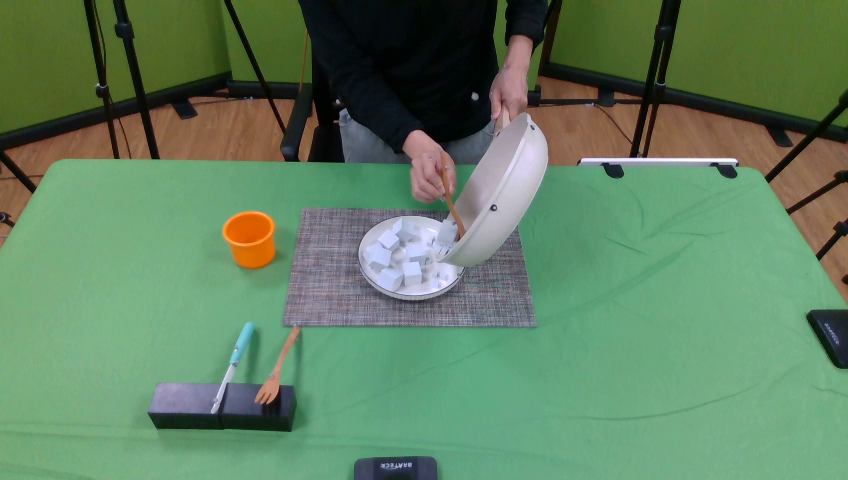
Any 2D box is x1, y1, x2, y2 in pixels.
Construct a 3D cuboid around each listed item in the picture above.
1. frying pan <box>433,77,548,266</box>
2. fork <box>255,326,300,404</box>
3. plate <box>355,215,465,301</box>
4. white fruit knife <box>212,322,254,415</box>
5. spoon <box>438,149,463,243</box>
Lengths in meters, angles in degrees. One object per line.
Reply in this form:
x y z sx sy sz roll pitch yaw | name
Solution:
0.132 -0.153 1.095 0.103 0.307 0.485 24 49 -14 | frying pan
-0.226 0.192 0.955 0.028 0.019 0.206 -3 27 5 | fork
-0.025 0.038 1.143 0.208 0.039 0.206 3 46 -2 | plate
-0.298 0.193 0.947 0.016 0.027 0.206 1 31 -1 | white fruit knife
0.045 -0.068 1.058 0.021 0.194 0.041 -13 29 7 | spoon
